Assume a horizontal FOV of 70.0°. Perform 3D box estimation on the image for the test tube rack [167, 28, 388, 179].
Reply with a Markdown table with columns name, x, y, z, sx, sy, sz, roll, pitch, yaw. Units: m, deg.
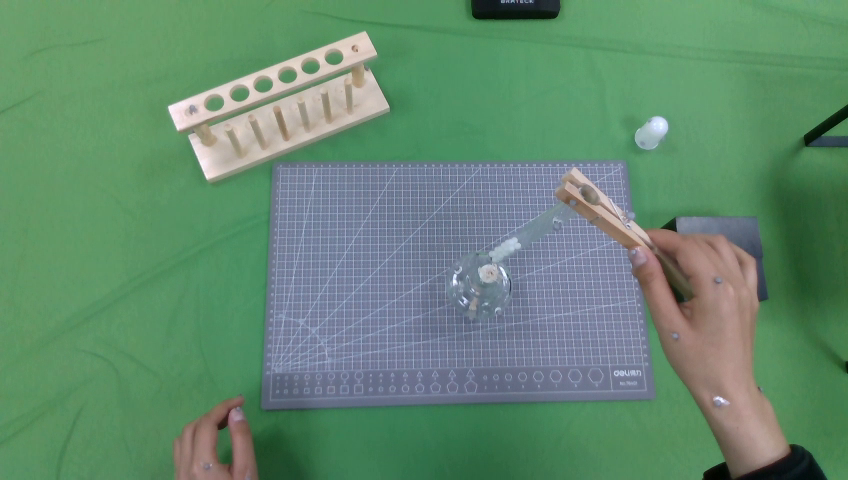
| name | x | y | z | sx | sy | sz | roll | pitch | yaw |
| --- | --- | --- | --- | --- | --- | --- | --- | --- | --- |
| test tube rack | -0.168 | -0.163 | 0.731 | 0.242 | 0.085 | 0.066 | -24 | 77 | -10 |

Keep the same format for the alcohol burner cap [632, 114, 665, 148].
| name | x | y | z | sx | sy | sz | roll | pitch | yaw |
| --- | --- | --- | --- | --- | --- | --- | --- | --- | --- |
| alcohol burner cap | 0.290 | -0.142 | 0.776 | 0.034 | 0.048 | 0.033 | 1 | 74 | -1 |

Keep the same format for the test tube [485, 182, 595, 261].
| name | x | y | z | sx | sy | sz | roll | pitch | yaw |
| --- | --- | --- | --- | --- | --- | --- | --- | --- | --- |
| test tube | 0.091 | -0.011 | 0.508 | 0.017 | 0.150 | 0.017 | 9 | 67 | -21 |

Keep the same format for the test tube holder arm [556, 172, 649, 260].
| name | x | y | z | sx | sy | sz | roll | pitch | yaw |
| --- | --- | --- | --- | --- | --- | --- | --- | --- | --- |
| test tube holder arm | 0.133 | -0.017 | 0.449 | 0.088 | 0.015 | 0.010 | 39 | 44 | -13 |

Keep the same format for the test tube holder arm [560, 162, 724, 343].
| name | x | y | z | sx | sy | sz | roll | pitch | yaw |
| --- | --- | --- | --- | --- | --- | --- | --- | --- | --- |
| test tube holder arm | 0.167 | 0.011 | 0.459 | 0.179 | 0.015 | 0.013 | 46 | 44 | -6 |

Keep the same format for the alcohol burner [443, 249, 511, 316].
| name | x | y | z | sx | sy | sz | roll | pitch | yaw |
| --- | --- | --- | --- | --- | --- | --- | --- | --- | --- |
| alcohol burner | 0.062 | 0.044 | 0.672 | 0.078 | 0.119 | 0.077 | 1 | 76 | -4 |
